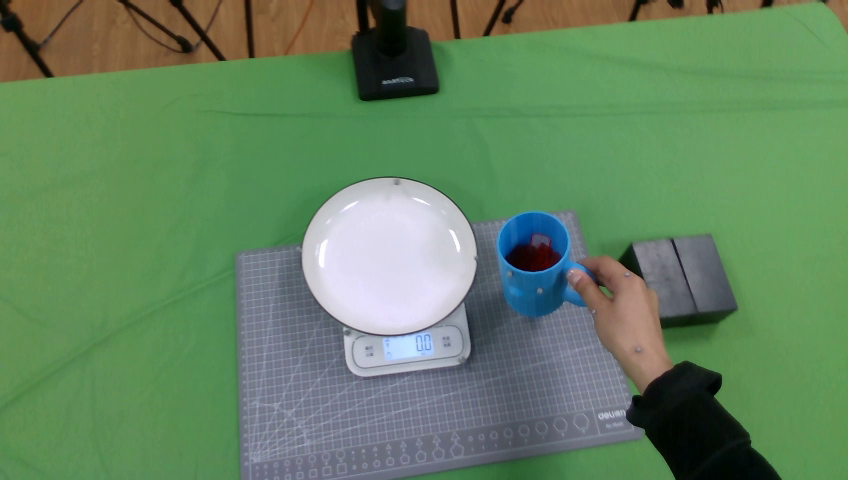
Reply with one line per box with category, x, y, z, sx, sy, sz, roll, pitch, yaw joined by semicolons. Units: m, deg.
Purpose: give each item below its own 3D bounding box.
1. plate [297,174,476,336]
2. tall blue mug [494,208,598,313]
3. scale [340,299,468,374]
plate;-0.043;0.018;0.723;0.209;0.038;0.207;2;64;-3
tall blue mug;0.135;0.026;0.667;0.107;0.109;0.077;0;60;12
scale;-0.031;0.057;0.742;0.149;0.032;0.199;-6;66;-5
